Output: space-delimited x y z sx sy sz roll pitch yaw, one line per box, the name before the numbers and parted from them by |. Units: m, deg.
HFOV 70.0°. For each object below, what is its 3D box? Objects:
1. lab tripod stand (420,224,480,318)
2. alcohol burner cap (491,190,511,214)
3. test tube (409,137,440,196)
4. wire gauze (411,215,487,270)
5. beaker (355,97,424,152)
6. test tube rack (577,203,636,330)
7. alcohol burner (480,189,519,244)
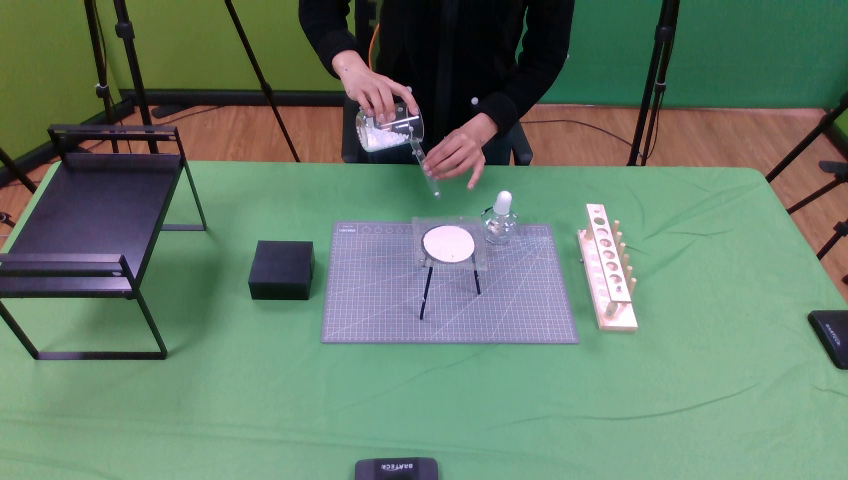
lab tripod stand | 0.034 0.051 1.071 0.148 0.132 0.147 3 48 -3
alcohol burner cap | 0.151 -0.076 1.166 0.034 0.048 0.033 5 52 -6
test tube | 0.003 -0.134 1.128 0.017 0.151 0.017 -11 50 14
wire gauze | 0.041 0.002 1.026 0.125 0.011 0.120 1 46 -3
beaker | -0.061 -0.192 1.031 0.100 0.084 0.073 -17 49 -17
test tube rack | 0.348 0.045 1.138 0.067 0.085 0.241 2 46 -2
alcohol burner | 0.150 -0.051 1.191 0.078 0.120 0.077 1 46 -1
